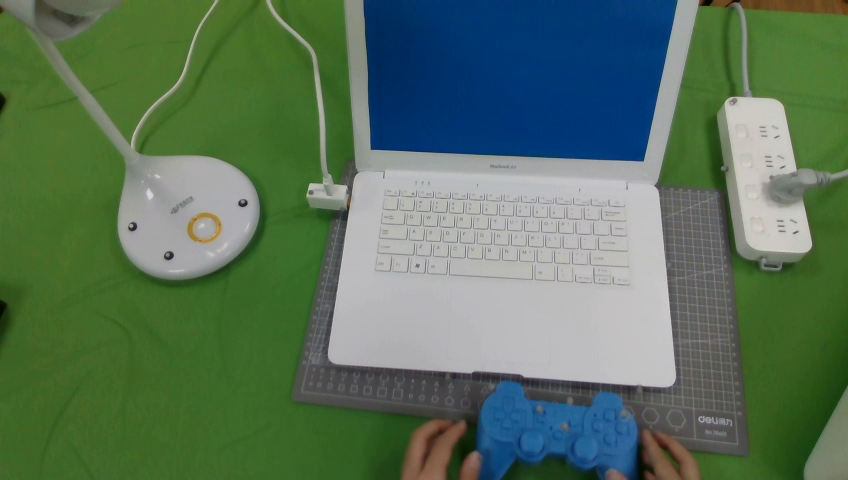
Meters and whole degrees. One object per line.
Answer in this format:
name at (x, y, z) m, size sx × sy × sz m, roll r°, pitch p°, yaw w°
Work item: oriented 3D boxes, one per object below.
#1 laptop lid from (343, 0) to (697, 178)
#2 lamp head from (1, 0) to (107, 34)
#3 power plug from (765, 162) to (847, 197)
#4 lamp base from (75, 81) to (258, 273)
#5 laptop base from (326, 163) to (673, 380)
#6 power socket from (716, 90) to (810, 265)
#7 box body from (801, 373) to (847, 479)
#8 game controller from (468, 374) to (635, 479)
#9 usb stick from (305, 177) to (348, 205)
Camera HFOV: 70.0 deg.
laptop lid at (0.092, -0.175, 0.649) m, size 0.356 × 0.243 × 0.013 m, roll 1°, pitch 33°, yaw 4°
lamp head at (-0.248, -0.203, 0.361) m, size 0.123 × 0.112 × 0.112 m, roll 32°, pitch 67°, yaw -9°
power plug at (0.411, -0.059, 0.660) m, size 0.072 × 0.053 × 0.035 m, roll 14°, pitch 65°, yaw 8°
lamp base at (-0.287, -0.076, 0.638) m, size 0.178 × 0.182 × 0.160 m, roll 31°, pitch 69°, yaw 19°
laptop base at (0.082, 0.027, 0.664) m, size 0.354 × 0.023 × 0.234 m, roll 3°, pitch 68°, yaw 4°
power socket at (0.385, -0.080, 0.696) m, size 0.072 × 0.033 × 0.225 m, roll 5°, pitch 64°, yaw 3°
box body at (0.537, 0.135, 0.514) m, size 0.252 × 0.161 × 0.363 m, roll 37°, pitch 71°, yaw 18°
game controller at (0.123, 0.181, 0.573) m, size 0.155 × 0.052 × 0.096 m, roll 6°, pitch 63°, yaw 5°
usb stick at (-0.105, -0.056, 0.697) m, size 0.059 × 0.027 × 0.021 m, roll 7°, pitch 59°, yaw 2°
